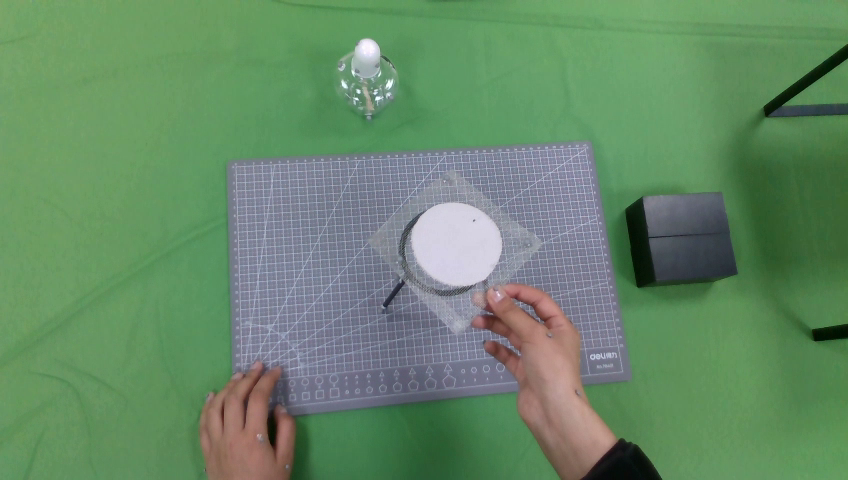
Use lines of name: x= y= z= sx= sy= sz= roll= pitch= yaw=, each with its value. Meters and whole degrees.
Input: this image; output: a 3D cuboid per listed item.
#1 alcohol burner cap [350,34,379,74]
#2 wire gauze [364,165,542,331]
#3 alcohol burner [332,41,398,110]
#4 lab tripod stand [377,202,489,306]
alcohol burner cap: x=-0.065 y=-0.207 z=0.669 sx=0.034 sy=0.048 sz=0.033 roll=1 pitch=81 yaw=-9
wire gauze: x=0.028 y=0.001 z=0.565 sx=0.124 sy=0.011 sz=0.121 roll=43 pitch=70 yaw=13
alcohol burner: x=-0.068 y=-0.200 z=0.703 sx=0.078 sy=0.119 sz=0.077 roll=2 pitch=77 yaw=-7
lab tripod stand: x=0.016 y=0.021 z=0.647 sx=0.149 sy=0.132 sz=0.147 roll=2 pitch=75 yaw=-7
